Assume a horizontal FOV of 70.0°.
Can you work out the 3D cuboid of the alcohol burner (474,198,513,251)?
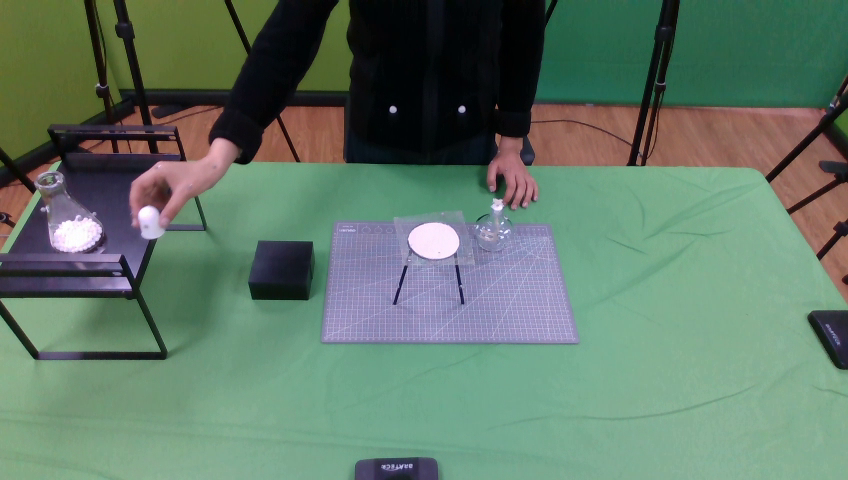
[{"bbox_3d":[0.137,-0.035,1.176,0.078,0.120,0.077,1,47,-1],"label":"alcohol burner"}]

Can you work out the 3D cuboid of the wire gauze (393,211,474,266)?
[{"bbox_3d":[0.015,-0.003,1.028,0.125,0.011,0.120,-4,47,-7],"label":"wire gauze"}]

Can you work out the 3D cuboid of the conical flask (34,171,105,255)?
[{"bbox_3d":[-0.522,-0.043,0.879,0.075,0.122,0.075,2,46,-2],"label":"conical flask"}]

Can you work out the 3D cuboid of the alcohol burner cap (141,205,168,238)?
[{"bbox_3d":[-0.402,-0.030,0.897,0.034,0.048,0.033,2,41,-2],"label":"alcohol burner cap"}]

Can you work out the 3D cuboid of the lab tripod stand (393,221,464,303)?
[{"bbox_3d":[0.010,0.045,1.075,0.148,0.132,0.147,2,48,-2],"label":"lab tripod stand"}]
